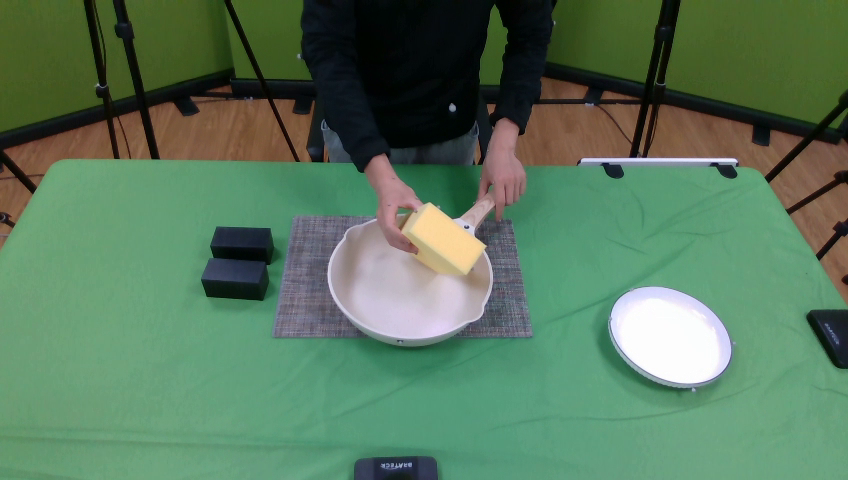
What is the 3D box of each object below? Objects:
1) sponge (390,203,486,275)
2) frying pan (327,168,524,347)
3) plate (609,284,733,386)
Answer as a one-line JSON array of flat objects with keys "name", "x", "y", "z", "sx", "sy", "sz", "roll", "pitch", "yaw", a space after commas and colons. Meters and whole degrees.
[{"name": "sponge", "x": 0.017, "y": 0.003, "z": 1.058, "sx": 0.118, "sy": 0.206, "sz": 0.061, "roll": 37, "pitch": 81, "yaw": -9}, {"name": "frying pan", "x": 0.042, "y": 0.009, "z": 1.132, "sx": 0.305, "sy": 0.103, "sz": 0.487, "roll": 34, "pitch": 61, "yaw": 24}, {"name": "plate", "x": 0.425, "y": 0.167, "z": 1.059, "sx": 0.208, "sy": 0.039, "sz": 0.206, "roll": 2, "pitch": 46, "yaw": -2}]
